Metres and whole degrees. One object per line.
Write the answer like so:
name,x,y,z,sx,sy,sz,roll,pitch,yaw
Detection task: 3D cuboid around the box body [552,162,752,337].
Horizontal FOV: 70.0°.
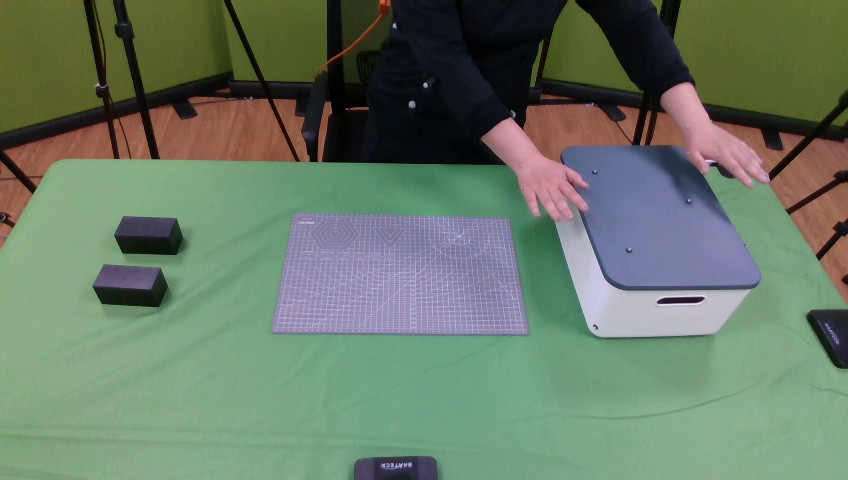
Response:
box body,0.401,-0.001,1.131,0.254,0.161,0.361,-1,46,-5

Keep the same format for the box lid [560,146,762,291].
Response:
box lid,0.404,-0.052,1.076,0.263,0.015,0.369,-1,45,-5
